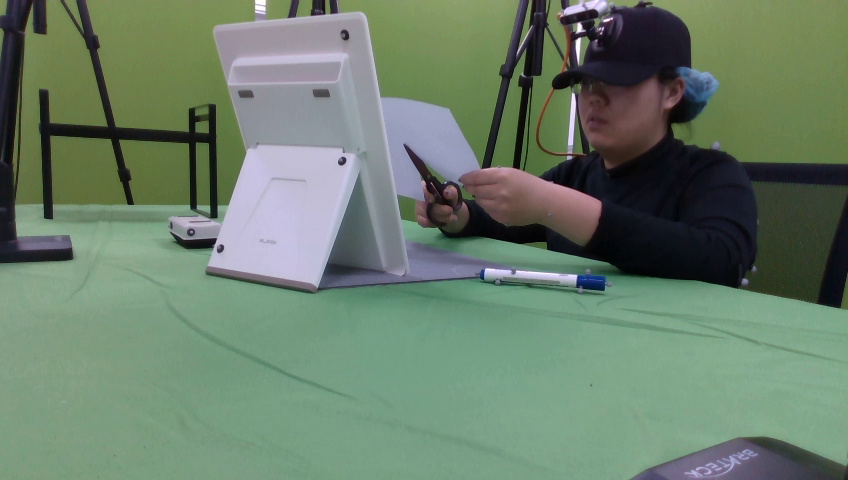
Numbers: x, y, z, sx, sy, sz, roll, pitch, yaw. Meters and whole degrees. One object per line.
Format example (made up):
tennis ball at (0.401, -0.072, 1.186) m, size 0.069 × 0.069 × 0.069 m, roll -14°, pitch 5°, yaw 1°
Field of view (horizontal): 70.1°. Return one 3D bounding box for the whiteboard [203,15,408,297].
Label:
whiteboard at (-0.166, -0.072, 0.668) m, size 0.216 × 0.305 × 0.144 m, roll 8°, pitch 30°, yaw 30°

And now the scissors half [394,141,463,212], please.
scissors half at (0.008, -0.104, 0.985) m, size 0.012 × 0.040 × 0.176 m, roll -2°, pitch -33°, yaw 48°

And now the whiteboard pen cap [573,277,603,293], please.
whiteboard pen cap at (0.186, 0.051, 0.687) m, size 0.033 × 0.018 × 0.018 m, roll 4°, pitch 8°, yaw 17°

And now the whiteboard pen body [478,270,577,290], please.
whiteboard pen body at (0.131, 0.047, 0.705) m, size 0.140 × 0.017 × 0.017 m, roll 3°, pitch 7°, yaw 18°

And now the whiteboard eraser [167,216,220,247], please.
whiteboard eraser at (-0.350, -0.013, 0.920) m, size 0.056 × 0.042 × 0.112 m, roll 0°, pitch 7°, yaw -35°

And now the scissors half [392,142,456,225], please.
scissors half at (0.000, -0.089, 0.977) m, size 0.013 × 0.176 × 0.040 m, roll -8°, pitch 38°, yaw 44°
